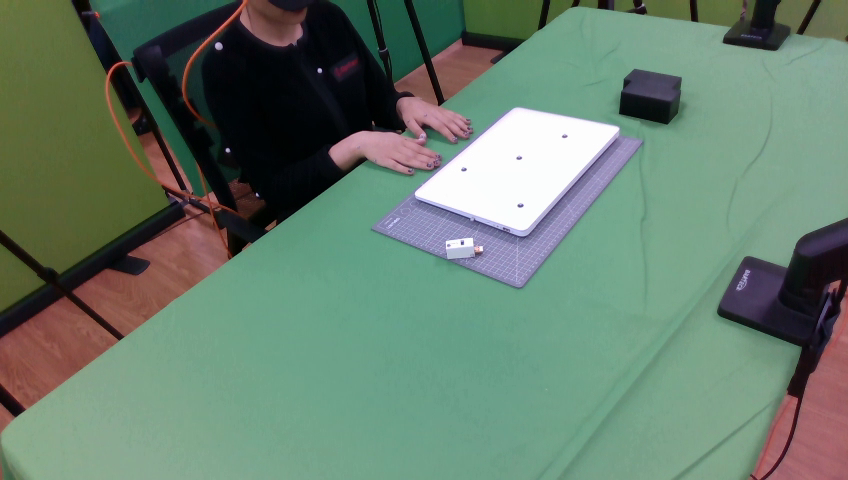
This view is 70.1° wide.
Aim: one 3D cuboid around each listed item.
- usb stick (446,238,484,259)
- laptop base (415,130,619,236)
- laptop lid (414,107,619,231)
[{"bbox_3d":[0.064,0.013,0.946,0.059,0.027,0.021,-4,41,3],"label":"usb stick"},{"bbox_3d":[0.178,-0.137,1.112,0.233,0.023,0.355,19,48,34],"label":"laptop base"},{"bbox_3d":[0.174,-0.147,1.106,0.239,0.013,0.358,22,49,34],"label":"laptop lid"}]
